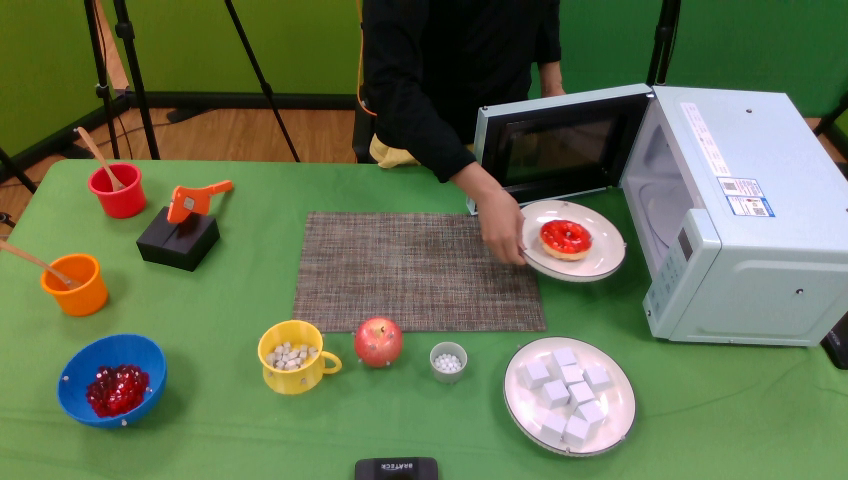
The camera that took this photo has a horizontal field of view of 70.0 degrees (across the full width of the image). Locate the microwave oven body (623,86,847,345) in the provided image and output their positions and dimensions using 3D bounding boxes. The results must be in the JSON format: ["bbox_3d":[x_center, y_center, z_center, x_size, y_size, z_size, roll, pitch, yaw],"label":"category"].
[{"bbox_3d":[0.567,-0.053,1.118,0.326,0.261,0.439,2,45,-1],"label":"microwave oven body"}]

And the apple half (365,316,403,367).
[{"bbox_3d":[-0.063,0.165,1.000,0.053,0.075,0.080,-16,45,-24],"label":"apple half"}]

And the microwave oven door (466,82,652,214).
[{"bbox_3d":[0.265,-0.183,1.216,0.356,0.245,0.039,-12,48,-15],"label":"microwave oven door"}]

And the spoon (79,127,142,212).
[{"bbox_3d":[-0.624,-0.140,1.203,0.041,0.021,0.194,-33,100,-26],"label":"spoon"}]

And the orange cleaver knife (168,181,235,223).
[{"bbox_3d":[-0.436,-0.078,1.196,0.012,0.077,0.211,16,15,10],"label":"orange cleaver knife"}]

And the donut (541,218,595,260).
[{"bbox_3d":[0.259,-0.003,1.091,0.099,0.048,0.098,6,38,-4],"label":"donut"}]

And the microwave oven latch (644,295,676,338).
[{"bbox_3d":[0.411,0.134,1.061,0.030,0.029,0.078,2,45,-1],"label":"microwave oven latch"}]

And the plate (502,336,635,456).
[{"bbox_3d":[0.225,0.248,0.963,0.208,0.039,0.206,2,46,-2],"label":"plate"}]

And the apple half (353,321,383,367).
[{"bbox_3d":[-0.097,0.177,0.984,0.033,0.081,0.081,-17,49,-25],"label":"apple half"}]

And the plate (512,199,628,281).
[{"bbox_3d":[0.261,0.004,1.100,0.209,0.038,0.208,5,42,-4],"label":"plate"}]

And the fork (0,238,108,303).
[{"bbox_3d":[-0.633,0.048,1.017,0.208,0.018,0.028,40,41,-27],"label":"fork"}]

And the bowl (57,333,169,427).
[{"bbox_3d":[-0.456,0.223,0.912,0.151,0.077,0.150,3,45,-2],"label":"bowl"}]

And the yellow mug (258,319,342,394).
[{"bbox_3d":[-0.195,0.189,0.972,0.131,0.064,0.099,9,46,4],"label":"yellow mug"}]

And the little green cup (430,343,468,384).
[{"bbox_3d":[0.039,0.203,0.993,0.061,0.039,0.061,2,46,-2],"label":"little green cup"}]
